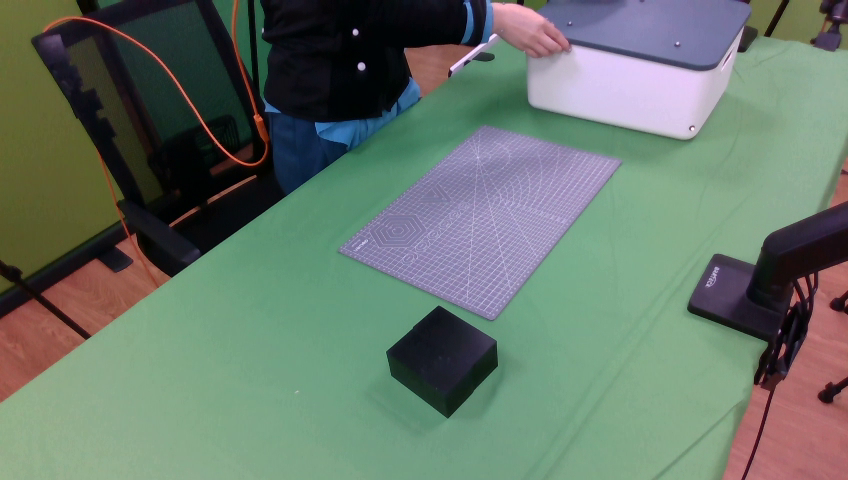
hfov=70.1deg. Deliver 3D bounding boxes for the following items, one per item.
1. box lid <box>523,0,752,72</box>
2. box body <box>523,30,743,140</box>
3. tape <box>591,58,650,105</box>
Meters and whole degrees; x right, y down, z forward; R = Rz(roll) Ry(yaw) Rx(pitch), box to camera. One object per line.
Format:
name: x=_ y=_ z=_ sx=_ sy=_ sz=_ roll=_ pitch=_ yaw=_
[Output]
box lid: x=0.404 y=-0.420 z=1.152 sx=0.369 sy=0.015 sz=0.264 roll=23 pitch=53 yaw=27
box body: x=0.412 y=-0.354 z=1.212 sx=0.361 sy=0.161 sz=0.254 roll=20 pitch=48 yaw=29
tape: x=0.407 y=-0.331 z=1.259 sx=0.117 sy=0.053 sz=0.116 roll=-2 pitch=40 yaw=2
